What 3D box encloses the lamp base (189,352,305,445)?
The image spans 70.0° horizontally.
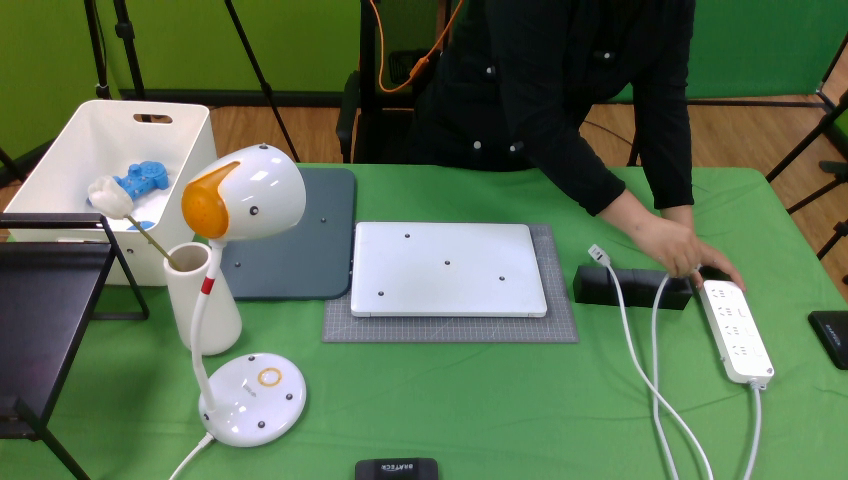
[{"bbox_3d":[-0.267,0.197,0.876,0.160,0.181,0.179,26,52,20],"label":"lamp base"}]

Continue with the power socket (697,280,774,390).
[{"bbox_3d":[0.550,0.159,1.080,0.072,0.033,0.225,4,46,0],"label":"power socket"}]

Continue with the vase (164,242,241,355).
[{"bbox_3d":[-0.349,0.096,0.954,0.098,0.201,0.097,3,47,-3],"label":"vase"}]

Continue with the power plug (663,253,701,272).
[{"bbox_3d":[0.461,0.044,1.094,0.072,0.053,0.035,-13,59,8],"label":"power plug"}]

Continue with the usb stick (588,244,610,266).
[{"bbox_3d":[0.336,0.027,1.173,0.027,0.021,0.059,33,16,-11],"label":"usb stick"}]

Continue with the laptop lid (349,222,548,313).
[{"bbox_3d":[0.041,0.046,1.143,0.357,0.013,0.240,2,44,-3],"label":"laptop lid"}]

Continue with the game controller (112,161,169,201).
[{"bbox_3d":[-0.597,-0.113,1.234,0.097,0.052,0.155,29,52,19],"label":"game controller"}]

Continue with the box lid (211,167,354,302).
[{"bbox_3d":[-0.276,-0.024,1.205,0.263,0.015,0.369,0,46,-4],"label":"box lid"}]

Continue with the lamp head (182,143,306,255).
[{"bbox_3d":[-0.215,-0.044,0.697,0.112,0.113,0.123,23,31,17],"label":"lamp head"}]

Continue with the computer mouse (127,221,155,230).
[{"bbox_3d":[-0.537,0.009,1.127,0.062,0.041,0.117,31,55,21],"label":"computer mouse"}]

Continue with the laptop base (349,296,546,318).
[{"bbox_3d":[0.041,0.056,1.149,0.355,0.023,0.234,1,43,-4],"label":"laptop base"}]

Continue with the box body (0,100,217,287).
[{"bbox_3d":[-0.559,-0.092,1.144,0.254,0.161,0.361,3,46,-2],"label":"box body"}]

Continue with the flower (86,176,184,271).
[{"bbox_3d":[-0.365,0.038,0.894,0.038,0.364,0.044,-4,53,15],"label":"flower"}]
